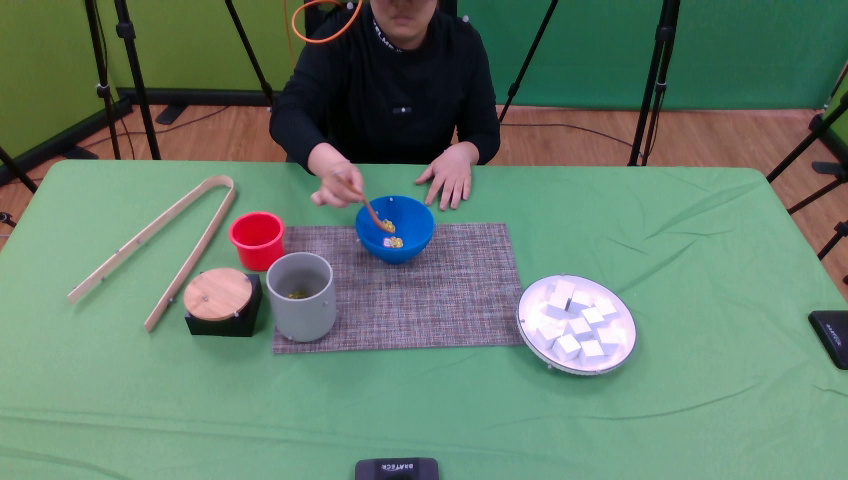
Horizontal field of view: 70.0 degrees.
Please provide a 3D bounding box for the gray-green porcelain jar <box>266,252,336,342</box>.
[{"bbox_3d":[-0.202,0.100,1.009,0.106,0.127,0.105,2,46,-2],"label":"gray-green porcelain jar"}]

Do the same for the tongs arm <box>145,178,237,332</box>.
[{"bbox_3d":[-0.432,0.014,1.150,0.028,0.028,0.385,8,46,7],"label":"tongs arm"}]

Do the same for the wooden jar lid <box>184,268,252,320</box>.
[{"bbox_3d":[-0.343,0.092,1.015,0.108,0.021,0.107,3,46,-3],"label":"wooden jar lid"}]

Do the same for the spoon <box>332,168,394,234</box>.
[{"bbox_3d":[-0.107,-0.068,1.086,0.021,0.195,0.041,-38,43,-3],"label":"spoon"}]

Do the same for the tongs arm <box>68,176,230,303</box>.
[{"bbox_3d":[-0.510,-0.011,1.162,0.050,0.026,0.383,20,47,14],"label":"tongs arm"}]

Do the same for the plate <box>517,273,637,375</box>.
[{"bbox_3d":[0.264,0.149,1.060,0.209,0.038,0.208,3,46,-3],"label":"plate"}]

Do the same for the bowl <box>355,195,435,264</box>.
[{"bbox_3d":[-0.056,-0.008,1.158,0.151,0.077,0.150,2,46,-2],"label":"bowl"}]
